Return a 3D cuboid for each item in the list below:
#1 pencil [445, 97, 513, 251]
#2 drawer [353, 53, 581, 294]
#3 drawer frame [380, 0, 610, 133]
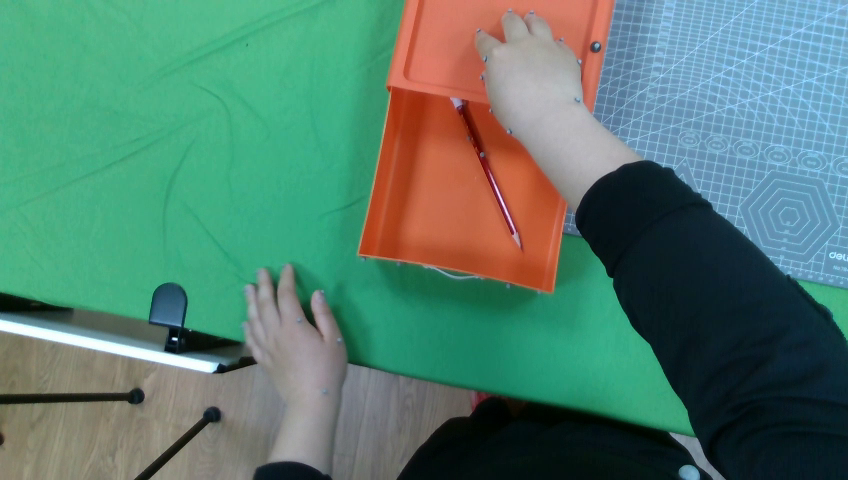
[{"bbox_3d":[0.057,-0.079,0.635,0.012,0.012,0.193,-22,86,5],"label":"pencil"},{"bbox_3d":[0.047,-0.065,0.610,0.194,0.073,0.211,11,90,8],"label":"drawer"},{"bbox_3d":[0.079,-0.226,0.612,0.201,0.083,0.213,11,87,7],"label":"drawer frame"}]
